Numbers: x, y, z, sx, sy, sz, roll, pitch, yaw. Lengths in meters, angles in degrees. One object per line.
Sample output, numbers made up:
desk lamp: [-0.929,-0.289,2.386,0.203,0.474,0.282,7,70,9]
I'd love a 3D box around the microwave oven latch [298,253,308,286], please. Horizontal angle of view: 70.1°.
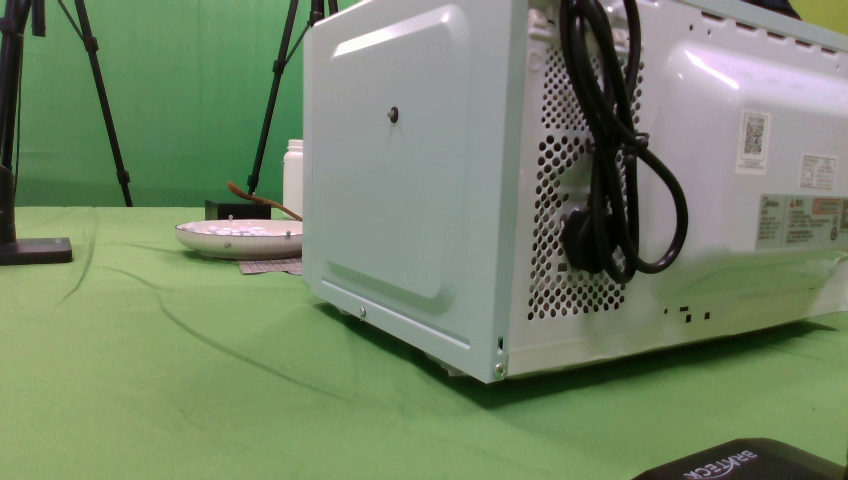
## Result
microwave oven latch: [-0.081,0.027,0.582,0.079,0.029,0.030,-1,7,-32]

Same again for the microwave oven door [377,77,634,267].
microwave oven door: [0.100,-0.100,0.846,0.354,0.243,0.039,5,8,23]

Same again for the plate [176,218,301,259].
plate: [-0.248,-0.003,0.877,0.209,0.038,0.209,1,8,0]

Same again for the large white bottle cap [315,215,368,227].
large white bottle cap: [-0.177,-0.041,1.309,0.115,0.018,0.115,2,6,0]

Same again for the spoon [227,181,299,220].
spoon: [-0.315,-0.074,1.235,0.195,0.021,0.041,24,-9,-37]

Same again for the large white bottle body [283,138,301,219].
large white bottle body: [-0.265,-0.144,1.423,0.131,0.184,0.130,2,7,0]

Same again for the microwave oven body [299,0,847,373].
microwave oven body: [0.152,-0.055,0.542,0.444,0.260,0.324,-2,7,-33]

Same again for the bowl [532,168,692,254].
bowl: [0.180,-0.030,0.596,0.151,0.077,0.151,2,7,0]
